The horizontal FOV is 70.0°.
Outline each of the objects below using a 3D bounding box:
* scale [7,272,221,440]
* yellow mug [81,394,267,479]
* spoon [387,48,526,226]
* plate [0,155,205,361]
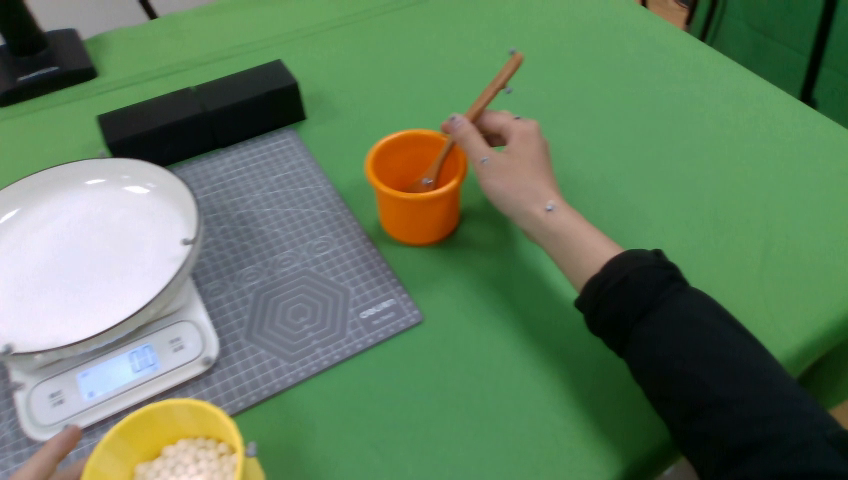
[{"bbox_3d":[-0.270,0.052,0.509,0.149,0.032,0.198,-25,54,-18],"label":"scale"},{"bbox_3d":[-0.146,0.165,0.395,0.130,0.064,0.099,16,54,13],"label":"yellow mug"},{"bbox_3d":[0.027,-0.088,0.539,0.022,0.194,0.041,11,36,-43],"label":"spoon"},{"bbox_3d":[-0.285,0.012,0.500,0.209,0.038,0.207,0,50,0],"label":"plate"}]
